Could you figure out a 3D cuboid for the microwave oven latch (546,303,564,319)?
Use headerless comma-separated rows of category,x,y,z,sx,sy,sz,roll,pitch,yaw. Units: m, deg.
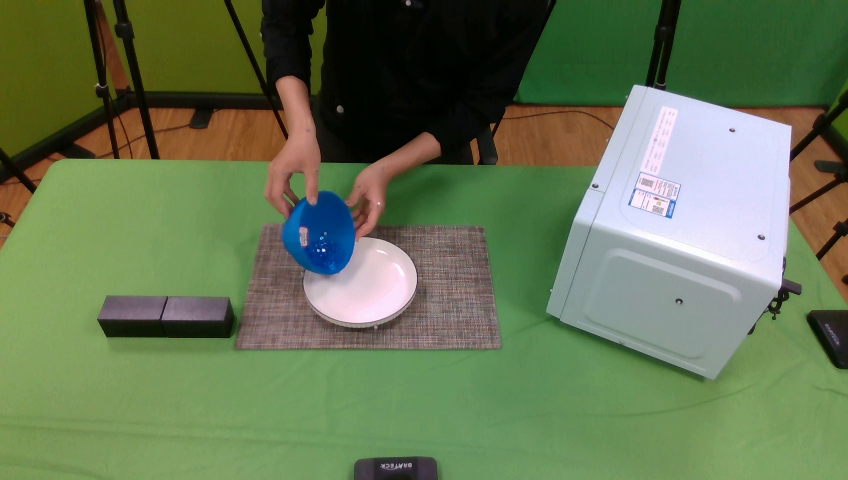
microwave oven latch,0.242,0.102,1.081,0.030,0.029,0.079,22,48,17

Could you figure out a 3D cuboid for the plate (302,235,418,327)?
plate,-0.115,0.076,1.098,0.208,0.039,0.206,2,46,-2

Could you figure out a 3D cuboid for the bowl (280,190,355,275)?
bowl,-0.200,-0.010,1.074,0.076,0.152,0.151,-4,39,31

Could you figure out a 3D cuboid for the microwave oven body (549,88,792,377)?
microwave oven body,0.456,-0.028,1.088,0.325,0.261,0.440,20,47,16

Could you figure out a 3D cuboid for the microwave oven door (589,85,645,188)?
microwave oven door,0.342,-0.107,1.149,0.039,0.245,0.354,20,48,15
